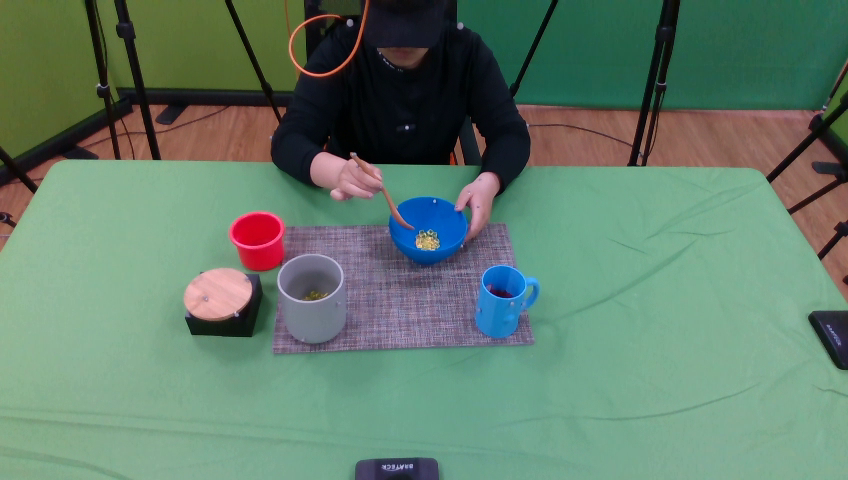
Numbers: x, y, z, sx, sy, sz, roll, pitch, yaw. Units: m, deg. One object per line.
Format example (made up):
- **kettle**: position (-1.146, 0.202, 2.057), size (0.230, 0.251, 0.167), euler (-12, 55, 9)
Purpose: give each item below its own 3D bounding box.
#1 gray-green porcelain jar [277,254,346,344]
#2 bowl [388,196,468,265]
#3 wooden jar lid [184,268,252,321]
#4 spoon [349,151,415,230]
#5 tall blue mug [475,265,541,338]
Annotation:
- **gray-green porcelain jar**: position (-0.184, 0.102, 1.008), size (0.106, 0.127, 0.105), euler (2, 46, -2)
- **bowl**: position (0.006, -0.006, 1.161), size (0.151, 0.077, 0.150), euler (2, 46, -2)
- **wooden jar lid**: position (-0.343, 0.093, 1.015), size (0.108, 0.021, 0.107), euler (3, 46, -3)
- **spoon**: position (-0.075, -0.086, 1.084), size (0.021, 0.195, 0.041), euler (-39, 29, -7)
- **tall blue mug**: position (0.142, 0.098, 1.047), size (0.077, 0.108, 0.107), euler (33, 53, 27)
